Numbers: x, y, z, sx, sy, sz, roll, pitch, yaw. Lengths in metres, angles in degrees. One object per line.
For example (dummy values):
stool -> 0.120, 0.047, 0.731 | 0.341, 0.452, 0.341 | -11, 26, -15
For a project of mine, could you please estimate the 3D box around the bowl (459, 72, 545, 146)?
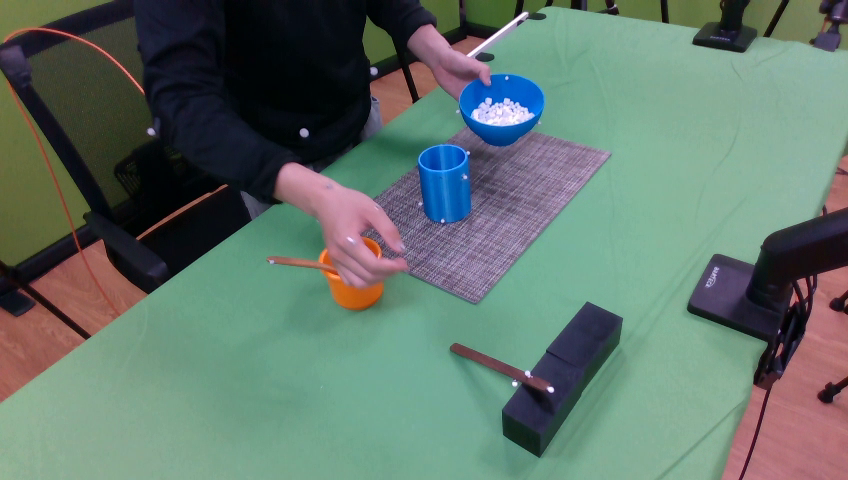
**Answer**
bowl -> 0.137, -0.222, 1.075 | 0.151, 0.077, 0.150 | -2, 50, 3

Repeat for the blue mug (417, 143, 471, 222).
blue mug -> 0.031, -0.104, 1.014 | 0.082, 0.106, 0.115 | -14, 41, -7

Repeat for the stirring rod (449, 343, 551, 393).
stirring rod -> 0.088, 0.154, 0.741 | 0.014, 0.006, 0.174 | -40, 28, -25

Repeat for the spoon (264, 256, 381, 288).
spoon -> -0.136, 0.041, 0.842 | 0.041, 0.195, 0.021 | 43, 106, 43
